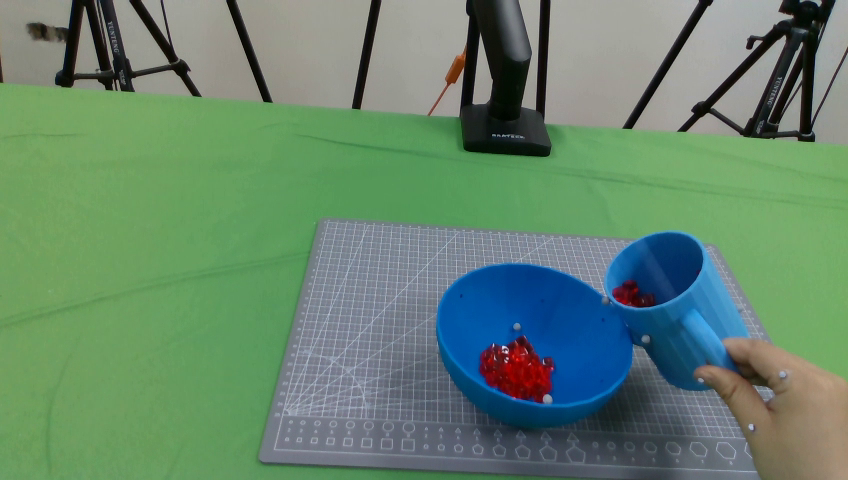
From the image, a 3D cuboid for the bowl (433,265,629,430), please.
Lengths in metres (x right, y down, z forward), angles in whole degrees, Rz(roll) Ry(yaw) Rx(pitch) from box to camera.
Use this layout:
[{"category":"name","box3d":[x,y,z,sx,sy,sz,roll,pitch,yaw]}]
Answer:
[{"category":"bowl","box3d":[0.078,0.097,0.484,0.151,0.077,0.150,4,38,-3]}]

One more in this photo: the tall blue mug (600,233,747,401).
[{"category":"tall blue mug","box3d":[0.203,0.062,0.460,0.077,0.109,0.106,-48,31,-12]}]
